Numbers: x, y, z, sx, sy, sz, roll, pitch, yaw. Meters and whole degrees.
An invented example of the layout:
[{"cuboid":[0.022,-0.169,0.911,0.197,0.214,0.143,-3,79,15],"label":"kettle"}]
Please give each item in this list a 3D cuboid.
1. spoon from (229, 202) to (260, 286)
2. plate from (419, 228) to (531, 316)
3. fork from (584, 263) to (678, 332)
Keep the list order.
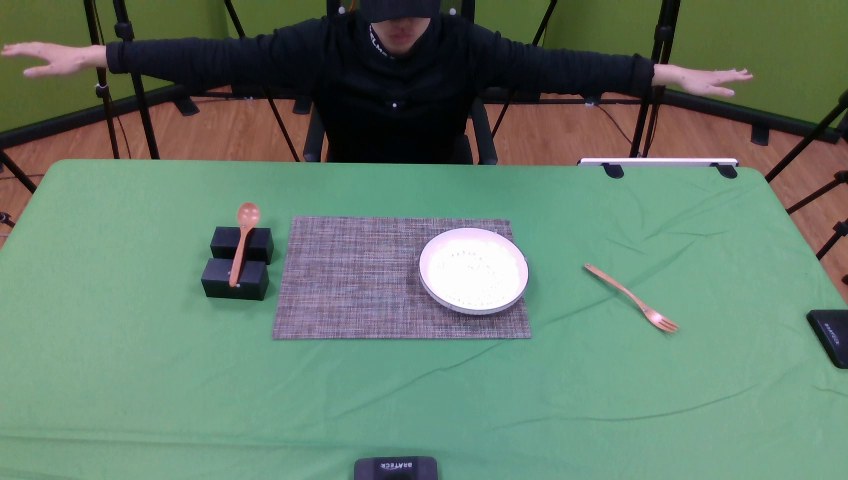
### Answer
[{"cuboid":[-0.332,0.005,1.100,0.042,0.022,0.192,17,43,-19],"label":"spoon"},{"cuboid":[0.093,0.062,1.131,0.208,0.039,0.206,2,46,-2],"label":"plate"},{"cuboid":[0.380,0.103,1.130,0.028,0.019,0.206,-34,58,-23],"label":"fork"}]
